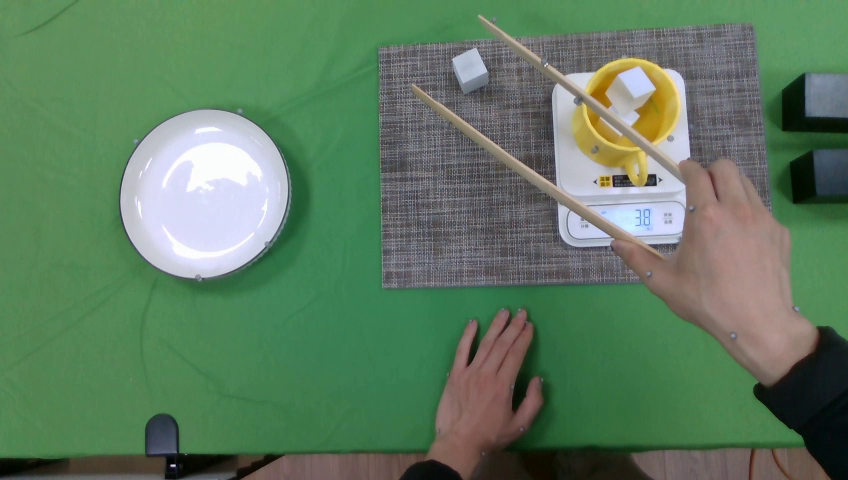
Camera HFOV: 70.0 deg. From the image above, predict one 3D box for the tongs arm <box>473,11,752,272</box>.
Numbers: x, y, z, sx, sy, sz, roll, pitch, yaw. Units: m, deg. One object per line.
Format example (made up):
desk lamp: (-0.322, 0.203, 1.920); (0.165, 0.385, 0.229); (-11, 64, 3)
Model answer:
tongs arm: (0.148, -0.112, 0.560); (0.051, 0.027, 0.380); (-43, 56, 1)

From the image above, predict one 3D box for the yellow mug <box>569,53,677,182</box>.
yellow mug: (0.215, -0.127, 0.653); (0.100, 0.064, 0.130); (-12, 84, 2)

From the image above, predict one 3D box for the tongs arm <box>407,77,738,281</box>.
tongs arm: (0.107, -0.072, 0.563); (0.028, 0.028, 0.383); (-46, 55, -5)

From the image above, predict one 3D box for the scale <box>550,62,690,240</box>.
scale: (0.224, -0.102, 0.696); (0.148, 0.031, 0.200); (-3, 84, 5)

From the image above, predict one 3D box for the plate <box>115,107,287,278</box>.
plate: (-0.265, -0.056, 0.734); (0.207, 0.039, 0.207); (-1, 83, 4)
